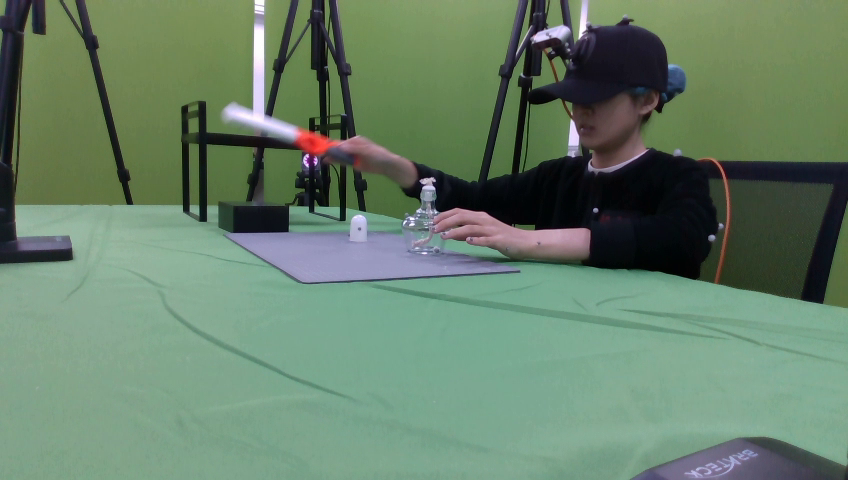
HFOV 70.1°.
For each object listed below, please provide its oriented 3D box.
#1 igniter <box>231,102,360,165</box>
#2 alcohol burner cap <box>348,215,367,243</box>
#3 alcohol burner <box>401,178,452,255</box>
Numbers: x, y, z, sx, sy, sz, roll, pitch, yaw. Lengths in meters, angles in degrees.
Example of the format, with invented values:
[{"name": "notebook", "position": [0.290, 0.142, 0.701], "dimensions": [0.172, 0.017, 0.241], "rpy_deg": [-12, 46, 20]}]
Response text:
[{"name": "igniter", "position": [-0.222, -0.188, 1.095], "dimensions": [0.025, 0.057, 0.278], "rpy_deg": [-42, -34, 26]}, {"name": "alcohol burner cap", "position": [-0.112, -0.019, 1.025], "dimensions": [0.034, 0.048, 0.034], "rpy_deg": [2, 6, 0]}, {"name": "alcohol burner", "position": [0.005, -0.036, 0.923], "dimensions": [0.078, 0.119, 0.078], "rpy_deg": [5, 7, 0]}]
